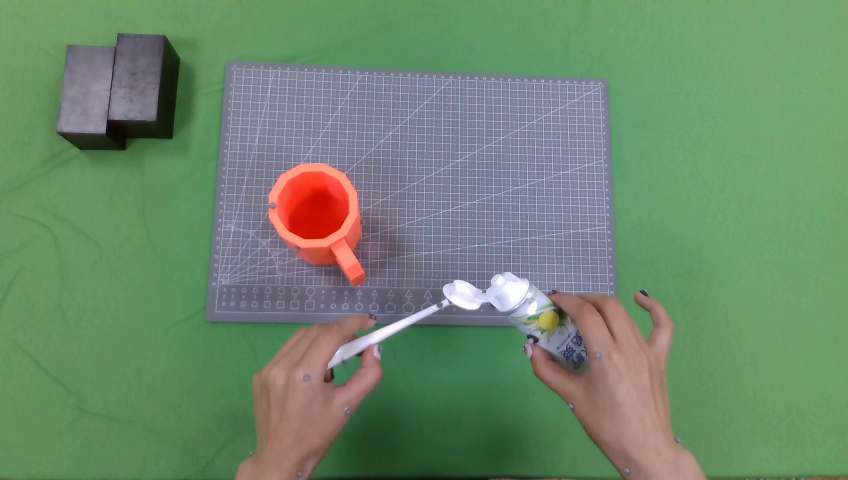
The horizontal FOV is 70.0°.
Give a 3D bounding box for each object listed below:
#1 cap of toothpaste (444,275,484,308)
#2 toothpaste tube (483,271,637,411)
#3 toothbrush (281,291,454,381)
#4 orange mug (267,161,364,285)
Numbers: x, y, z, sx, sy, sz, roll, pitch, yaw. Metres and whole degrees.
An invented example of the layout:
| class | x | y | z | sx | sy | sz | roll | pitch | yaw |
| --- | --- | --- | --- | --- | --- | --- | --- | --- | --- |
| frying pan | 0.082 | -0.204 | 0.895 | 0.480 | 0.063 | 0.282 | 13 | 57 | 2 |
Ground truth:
| class | x | y | z | sx | sy | sz | roll | pitch | yaw |
| --- | --- | --- | --- | --- | --- | --- | --- | --- | --- |
| cap of toothpaste | 0.034 | 0.041 | 0.501 | 0.037 | 0.037 | 0.011 | 25 | 118 | 1 |
| toothpaste tube | 0.113 | 0.083 | 0.517 | 0.166 | 0.034 | 0.055 | 40 | 92 | -16 |
| toothbrush | -0.040 | 0.079 | 0.526 | 0.182 | 0.016 | 0.014 | -26 | 90 | -5 |
| orange mug | -0.102 | -0.012 | 0.625 | 0.083 | 0.101 | 0.125 | -32 | 78 | -10 |
